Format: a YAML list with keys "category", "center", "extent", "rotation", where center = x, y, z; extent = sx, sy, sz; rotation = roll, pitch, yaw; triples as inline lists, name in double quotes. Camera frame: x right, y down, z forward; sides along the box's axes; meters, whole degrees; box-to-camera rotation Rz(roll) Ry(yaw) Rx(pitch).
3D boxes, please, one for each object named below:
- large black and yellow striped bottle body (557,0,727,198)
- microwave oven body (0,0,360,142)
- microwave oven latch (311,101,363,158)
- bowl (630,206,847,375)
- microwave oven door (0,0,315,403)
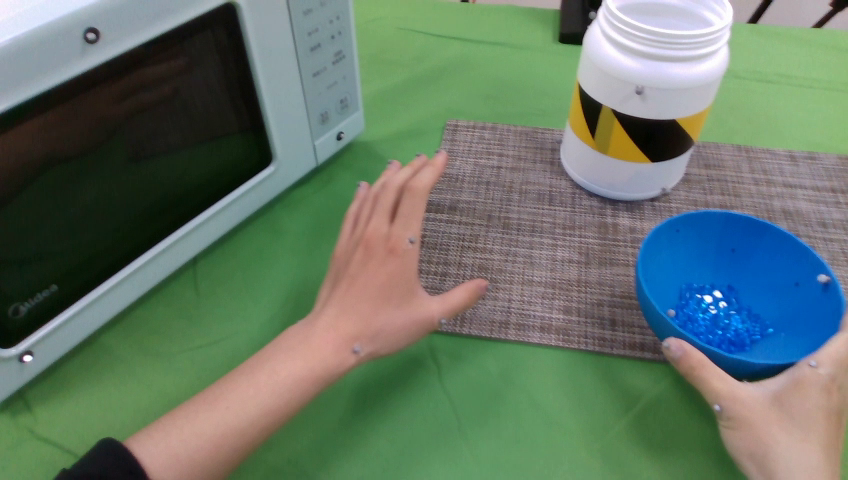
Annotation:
- category: "large black and yellow striped bottle body"
  center: [0.208, -0.148, 0.593]
  extent: [0.131, 0.185, 0.129]
  rotation: [0, 48, 0]
- category: "microwave oven body"
  center: [-0.326, -0.147, 0.543]
  extent: [0.323, 0.262, 0.440]
  rotation: [29, 55, 23]
- category: "microwave oven latch"
  center: [-0.100, -0.123, 0.651]
  extent: [0.030, 0.030, 0.079]
  rotation: [31, 56, 24]
- category: "bowl"
  center: [0.235, 0.052, 0.485]
  extent: [0.151, 0.077, 0.150]
  rotation: [0, 48, 1]
- category: "microwave oven door"
  center: [-0.234, -0.062, 0.459]
  extent: [0.039, 0.246, 0.355]
  rotation: [29, 54, 24]
